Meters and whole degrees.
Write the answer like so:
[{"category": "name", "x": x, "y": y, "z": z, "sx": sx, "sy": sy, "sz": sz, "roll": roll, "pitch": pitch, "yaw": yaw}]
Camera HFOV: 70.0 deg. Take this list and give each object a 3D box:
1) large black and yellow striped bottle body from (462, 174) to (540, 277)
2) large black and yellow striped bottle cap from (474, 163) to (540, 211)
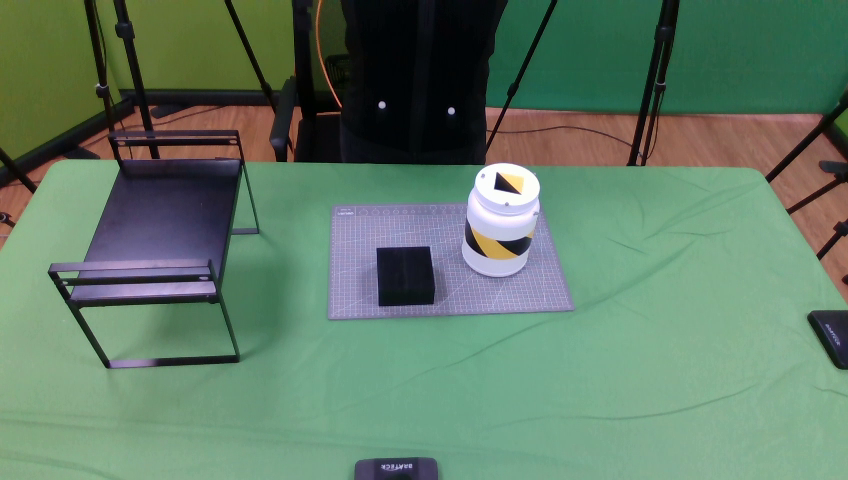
[{"category": "large black and yellow striped bottle body", "x": 0.143, "y": -0.035, "z": 1.124, "sx": 0.131, "sy": 0.185, "sz": 0.130, "roll": 2, "pitch": 46, "yaw": -2}, {"category": "large black and yellow striped bottle cap", "x": 0.146, "y": -0.095, "z": 1.064, "sx": 0.115, "sy": 0.019, "sz": 0.114, "roll": 3, "pitch": 46, "yaw": -3}]
